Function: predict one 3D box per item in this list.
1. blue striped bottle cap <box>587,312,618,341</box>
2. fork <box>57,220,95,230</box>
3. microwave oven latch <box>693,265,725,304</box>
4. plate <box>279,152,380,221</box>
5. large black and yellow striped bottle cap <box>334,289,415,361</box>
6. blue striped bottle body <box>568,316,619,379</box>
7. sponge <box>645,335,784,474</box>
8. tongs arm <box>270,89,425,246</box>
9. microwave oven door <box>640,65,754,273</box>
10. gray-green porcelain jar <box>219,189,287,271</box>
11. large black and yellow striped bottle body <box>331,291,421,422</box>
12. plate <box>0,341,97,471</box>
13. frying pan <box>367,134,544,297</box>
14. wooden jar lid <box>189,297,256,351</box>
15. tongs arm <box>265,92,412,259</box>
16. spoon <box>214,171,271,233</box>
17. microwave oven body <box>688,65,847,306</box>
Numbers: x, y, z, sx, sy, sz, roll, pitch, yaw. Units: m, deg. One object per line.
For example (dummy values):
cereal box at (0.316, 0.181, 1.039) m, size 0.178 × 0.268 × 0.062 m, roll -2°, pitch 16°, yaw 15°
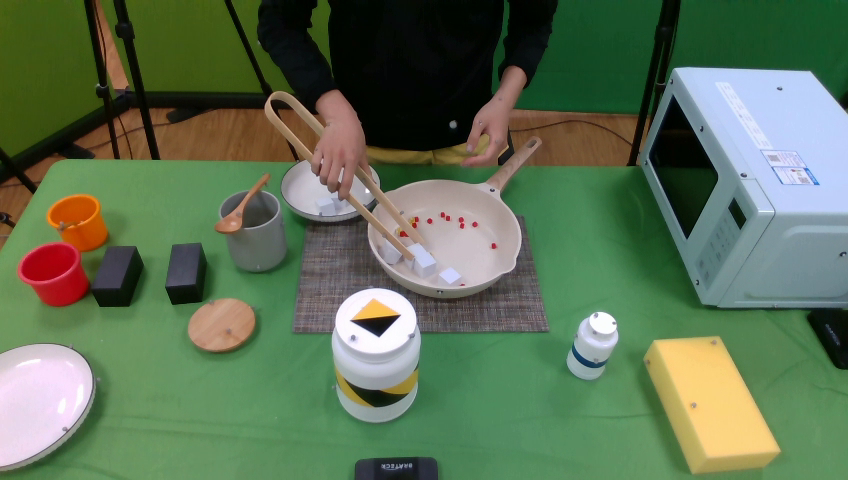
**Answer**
blue striped bottle cap at (0.279, 0.134, 0.947) m, size 0.044 × 0.021 × 0.044 m, roll 2°, pitch 45°, yaw -2°
fork at (-0.624, -0.027, 1.086) m, size 0.028 × 0.207 × 0.018 m, roll -3°, pitch 92°, yaw -17°
microwave oven latch at (0.523, 0.081, 1.116) m, size 0.030 × 0.029 × 0.078 m, roll 2°, pitch 46°, yaw -1°
plate at (-0.196, -0.107, 1.269) m, size 0.208 × 0.039 × 0.206 m, roll 2°, pitch 45°, yaw -2°
large black and yellow striped bottle cap at (-0.069, 0.117, 0.850) m, size 0.115 × 0.019 × 0.114 m, roll 2°, pitch 45°, yaw -2°
blue striped bottle body at (0.276, 0.168, 0.984) m, size 0.063 × 0.121 × 0.062 m, roll 2°, pitch 46°, yaw -2°
sponge at (0.449, 0.253, 0.956) m, size 0.118 × 0.061 × 0.205 m, roll -4°, pitch 46°, yaw -7°
tongs arm at (-0.140, -0.127, 1.119) m, size 0.385 × 0.026 × 0.050 m, roll 50°, pitch 55°, yaw -7°
microwave oven door at (0.522, -0.147, 1.193) m, size 0.039 × 0.245 × 0.353 m, roll 0°, pitch 47°, yaw -3°
gray-green porcelain jar at (-0.310, -0.014, 1.113) m, size 0.106 × 0.127 × 0.105 m, roll 2°, pitch 46°, yaw -2°
large black and yellow striped bottle body at (-0.071, 0.175, 0.911) m, size 0.131 × 0.185 × 0.130 m, roll 2°, pitch 47°, yaw -2°
plate at (-0.599, 0.247, 0.904) m, size 0.209 × 0.038 × 0.208 m, roll 2°, pitch 47°, yaw -2°
frying pan at (0.104, -0.069, 1.205) m, size 0.305 × 0.103 × 0.487 m, roll 33°, pitch 61°, yaw 23°
wooden jar lid at (-0.342, 0.145, 1.033) m, size 0.108 × 0.021 × 0.107 m, roll 2°, pitch 45°, yaw -2°
tongs arm at (-0.155, -0.109, 1.103) m, size 0.388 × 0.028 × 0.028 m, roll 48°, pitch 58°, yaw -8°
spoon at (-0.312, -0.070, 1.070) m, size 0.041 × 0.022 × 0.193 m, roll 10°, pitch 43°, yaw 10°
microwave oven body at (0.669, -0.111, 1.176) m, size 0.326 × 0.261 × 0.439 m, roll 0°, pitch 46°, yaw -3°
